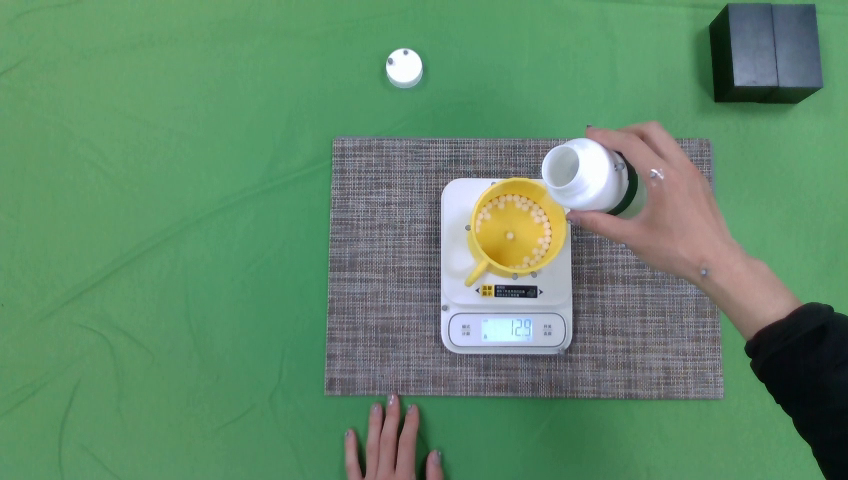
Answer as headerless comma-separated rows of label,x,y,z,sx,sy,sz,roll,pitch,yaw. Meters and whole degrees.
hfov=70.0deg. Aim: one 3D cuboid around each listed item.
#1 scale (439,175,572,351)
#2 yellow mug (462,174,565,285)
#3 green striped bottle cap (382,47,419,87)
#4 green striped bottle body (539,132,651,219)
scale,0.092,0.025,0.690,0.149,0.031,0.200,0,83,1
yellow mug,0.085,-0.003,0.646,0.100,0.064,0.131,40,85,5
green striped bottle cap,-0.028,-0.210,0.735,0.044,0.020,0.044,0,85,1
green striped bottle body,0.153,-0.059,0.549,0.063,0.120,0.063,-9,77,42
